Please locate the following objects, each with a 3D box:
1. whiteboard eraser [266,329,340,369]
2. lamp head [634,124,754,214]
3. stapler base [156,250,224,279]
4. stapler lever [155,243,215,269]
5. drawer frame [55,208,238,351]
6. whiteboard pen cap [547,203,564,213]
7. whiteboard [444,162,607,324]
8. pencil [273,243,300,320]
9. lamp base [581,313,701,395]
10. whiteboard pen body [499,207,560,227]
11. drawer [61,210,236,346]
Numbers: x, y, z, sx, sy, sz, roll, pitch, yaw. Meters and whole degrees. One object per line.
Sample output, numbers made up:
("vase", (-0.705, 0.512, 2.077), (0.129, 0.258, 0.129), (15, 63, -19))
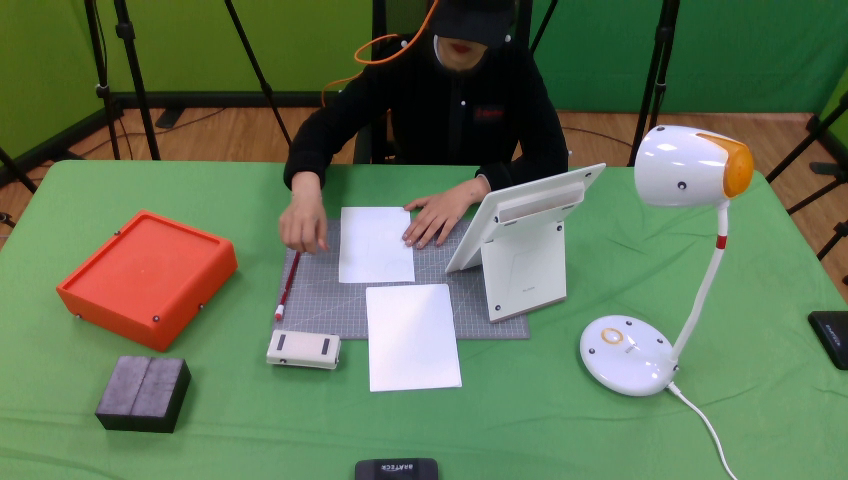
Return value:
("whiteboard eraser", (-0.198, 0.181, 0.994), (0.113, 0.042, 0.055), (5, 45, 1))
("lamp head", (0.351, -0.089, 0.776), (0.112, 0.113, 0.122), (-30, 30, -28))
("stapler base", (-0.431, 0.040, 1.111), (0.130, 0.024, 0.041), (11, 38, 17))
("stapler lever", (-0.433, 0.023, 1.097), (0.118, 0.040, 0.026), (14, 39, 14))
("drawer frame", (-0.474, 0.062, 1.059), (0.201, 0.083, 0.213), (18, 48, 12))
("whiteboard pen cap", (0.277, -0.066, 1.275), (0.033, 0.018, 0.018), (-18, 50, -15))
("whiteboard", (0.186, 0.025, 1.029), (0.217, 0.306, 0.143), (-15, 68, -18))
("pencil", (-0.249, 0.071, 1.115), (0.012, 0.012, 0.193), (5, 43, 1))
("lamp base", (0.361, 0.144, 0.973), (0.178, 0.181, 0.160), (34, 53, 23))
("whiteboard pen body", (0.222, -0.051, 1.260), (0.141, 0.017, 0.017), (-15, 49, -16))
("drawer", (-0.474, 0.061, 1.063), (0.194, 0.073, 0.211), (19, 49, 13))
